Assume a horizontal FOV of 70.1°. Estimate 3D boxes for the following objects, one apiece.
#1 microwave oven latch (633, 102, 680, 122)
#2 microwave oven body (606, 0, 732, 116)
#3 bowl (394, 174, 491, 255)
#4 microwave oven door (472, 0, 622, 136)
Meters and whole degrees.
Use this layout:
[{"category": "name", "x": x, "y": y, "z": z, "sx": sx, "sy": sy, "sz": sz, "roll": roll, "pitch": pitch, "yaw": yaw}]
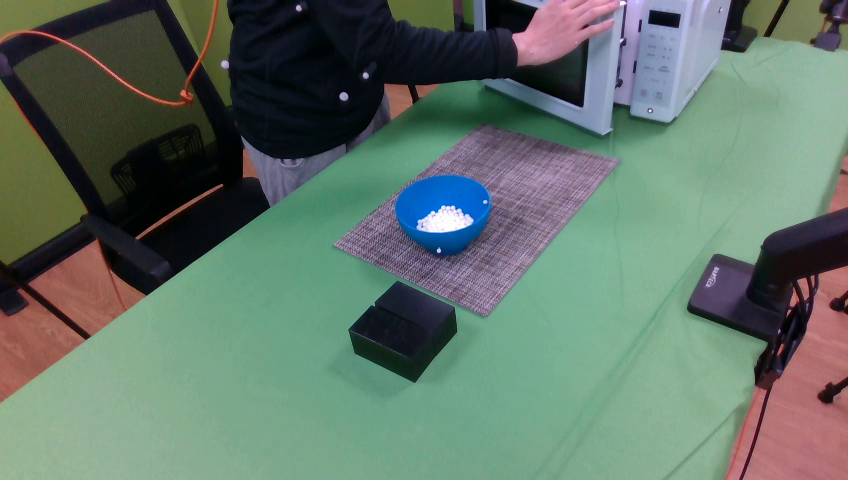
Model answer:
[{"category": "microwave oven latch", "x": 0.443, "y": -0.249, "z": 1.157, "sx": 0.078, "sy": 0.029, "sz": 0.030, "roll": 21, "pitch": 49, "yaw": 30}, {"category": "microwave oven body", "x": 0.377, "y": -0.462, "z": 1.267, "sx": 0.438, "sy": 0.261, "sz": 0.327, "roll": 21, "pitch": 48, "yaw": 30}, {"category": "bowl", "x": 0.032, "y": -0.030, "z": 0.949, "sx": 0.151, "sy": 0.077, "sz": 0.150, "roll": -4, "pitch": 40, "yaw": 4}, {"category": "microwave oven door", "x": 0.225, "y": -0.372, "z": 1.175, "sx": 0.039, "sy": 0.245, "sz": 0.352, "roll": -32, "pitch": 46, "yaw": -25}]
